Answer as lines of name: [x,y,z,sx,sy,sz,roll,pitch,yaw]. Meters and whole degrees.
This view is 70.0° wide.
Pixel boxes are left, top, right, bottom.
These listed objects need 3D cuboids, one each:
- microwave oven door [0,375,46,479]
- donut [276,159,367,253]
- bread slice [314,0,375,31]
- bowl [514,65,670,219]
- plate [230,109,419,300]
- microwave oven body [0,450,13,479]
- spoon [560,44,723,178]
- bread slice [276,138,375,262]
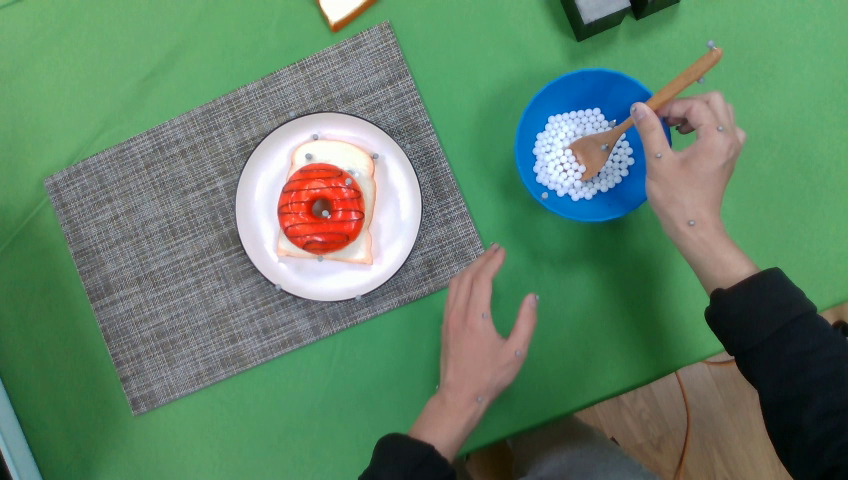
microwave oven door: [-0.513,0.177,0.590,0.039,0.244,0.355,-25,87,5]
donut: [-0.109,-0.036,0.640,0.099,0.048,0.099,0,90,6]
bread slice: [-0.101,-0.318,0.683,0.105,0.019,0.131,-37,88,3]
bowl: [0.166,-0.094,0.626,0.151,0.077,0.151,0,90,5]
plate: [-0.107,-0.037,0.668,0.207,0.039,0.207,0,90,5]
microwave oven body: [-0.663,0.200,0.609,0.326,0.260,0.441,-25,88,4]
spoon: [0.194,-0.113,0.562,0.021,0.194,0.041,-28,82,-34]
bread slice: [-0.107,-0.045,0.668,0.107,0.018,0.134,2,90,5]
